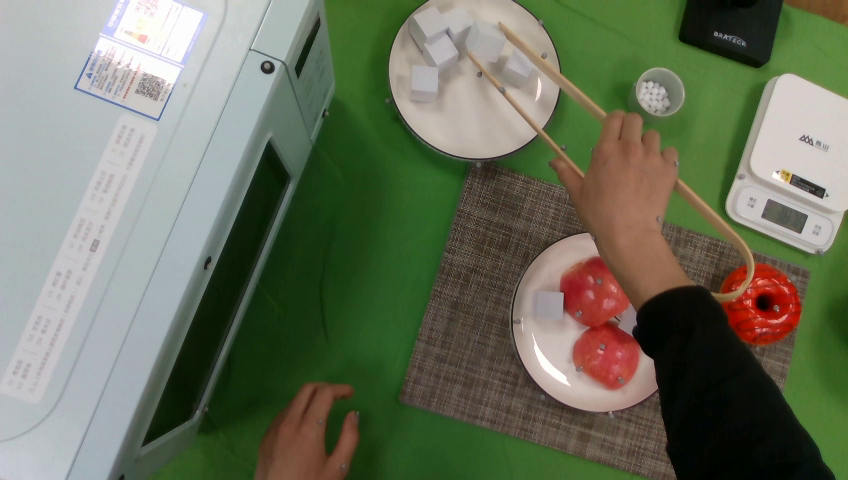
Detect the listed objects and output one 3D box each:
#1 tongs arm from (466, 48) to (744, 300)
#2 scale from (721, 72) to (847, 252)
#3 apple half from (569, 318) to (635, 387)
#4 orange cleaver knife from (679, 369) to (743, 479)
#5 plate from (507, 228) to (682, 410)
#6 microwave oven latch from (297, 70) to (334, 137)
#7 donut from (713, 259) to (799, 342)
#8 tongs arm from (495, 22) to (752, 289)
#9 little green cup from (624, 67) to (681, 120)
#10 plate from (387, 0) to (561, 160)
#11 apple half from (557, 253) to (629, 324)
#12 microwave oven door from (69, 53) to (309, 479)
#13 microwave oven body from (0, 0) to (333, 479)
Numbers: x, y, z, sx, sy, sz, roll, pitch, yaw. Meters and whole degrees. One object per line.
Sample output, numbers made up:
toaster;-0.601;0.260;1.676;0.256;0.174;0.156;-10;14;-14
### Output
tongs arm;0.168;-0.085;0.620;0.051;0.027;0.381;-37;66;7
scale;0.471;-0.099;0.764;0.149;0.031;0.200;22;83;-3
apple half;0.212;0.129;0.701;0.081;0.033;0.081;0;85;-2
orange cleaver knife;0.344;0.260;0.718;0.077;0.012;0.210;1;83;-11
plate;0.196;0.090;0.710;0.209;0.038;0.208;1;84;-5
microwave oven latch;-0.127;-0.159;0.685;0.030;0.029;0.079;23;83;-4
donut;0.397;0.072;0.730;0.099;0.048;0.099;0;84;-3
tongs arm;0.189;-0.104;0.616;0.028;0.028;0.384;-39;66;3
little green cup;0.279;-0.178;0.748;0.061;0.038;0.061;1;84;-5
plate;0.059;-0.195;0.727;0.208;0.039;0.207;1;84;-6
apple half;0.198;0.054;0.698;0.081;0.053;0.074;-27;85;-8
microwave oven door;-0.196;0.033;0.557;0.039;0.244;0.355;20;82;-3
microwave oven body;-0.317;-0.057;0.559;0.326;0.260;0.440;21;83;-4
